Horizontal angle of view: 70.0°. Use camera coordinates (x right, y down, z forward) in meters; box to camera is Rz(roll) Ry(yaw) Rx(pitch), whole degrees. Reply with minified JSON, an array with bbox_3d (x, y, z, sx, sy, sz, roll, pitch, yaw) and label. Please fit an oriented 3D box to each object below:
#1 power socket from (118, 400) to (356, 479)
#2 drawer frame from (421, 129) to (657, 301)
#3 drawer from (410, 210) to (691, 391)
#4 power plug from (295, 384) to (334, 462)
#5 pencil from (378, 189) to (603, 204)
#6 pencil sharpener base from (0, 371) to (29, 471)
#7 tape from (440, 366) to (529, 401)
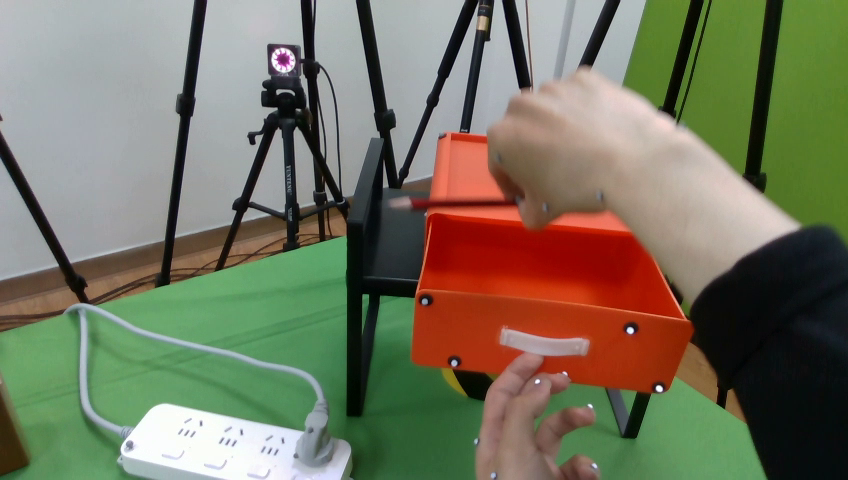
[{"bbox_3d":[-0.176,0.204,0.576,0.226,0.033,0.072,9,30,8],"label":"power socket"},{"bbox_3d":[0.104,-0.035,0.622,0.202,0.083,0.212,5,30,0],"label":"drawer frame"},{"bbox_3d":[0.096,0.026,0.522,0.194,0.074,0.210,6,29,2],"label":"drawer"},{"bbox_3d":[-0.096,0.182,0.580,0.035,0.053,0.072,16,33,17],"label":"power plug"},{"bbox_3d":[0.056,-0.031,0.432,0.195,0.012,0.012,-2,30,-30],"label":"pencil"},{"bbox_3d":[-0.412,0.160,0.539,0.077,0.108,0.060,-20,39,-35],"label":"pencil sharpener base"},{"bbox_3d":[0.076,0.132,0.721,0.117,0.053,0.116,4,31,-2],"label":"tape"}]
